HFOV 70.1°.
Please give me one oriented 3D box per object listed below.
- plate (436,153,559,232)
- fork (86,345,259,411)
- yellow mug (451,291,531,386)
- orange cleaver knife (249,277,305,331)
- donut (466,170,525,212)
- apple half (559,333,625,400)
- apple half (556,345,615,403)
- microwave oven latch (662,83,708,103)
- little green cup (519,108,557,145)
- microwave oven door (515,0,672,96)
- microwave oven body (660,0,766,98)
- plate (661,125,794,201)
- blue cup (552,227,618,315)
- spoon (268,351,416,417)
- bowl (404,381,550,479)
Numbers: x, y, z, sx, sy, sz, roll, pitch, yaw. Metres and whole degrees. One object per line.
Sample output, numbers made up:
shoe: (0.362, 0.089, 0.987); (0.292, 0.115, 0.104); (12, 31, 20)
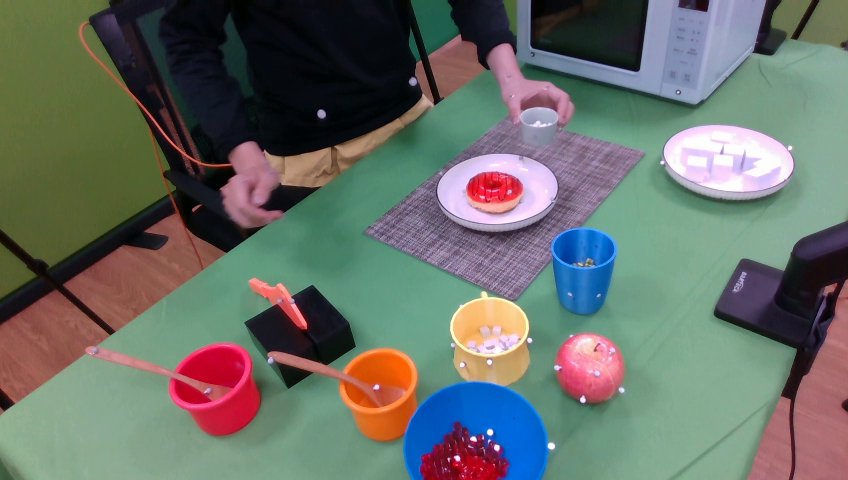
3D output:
plate: (0.125, -0.078, 1.029); (0.209, 0.038, 0.208); (-4, 40, 4)
fork: (-0.298, 0.166, 0.728); (0.209, 0.018, 0.028); (28, 47, -23)
yellow mug: (0.085, 0.120, 0.786); (0.100, 0.064, 0.130); (-7, 39, 1)
orange cleaver knife: (-0.210, 0.088, 0.855); (0.012, 0.077, 0.210); (-28, 15, -25)
donut: (0.121, -0.084, 1.019); (0.099, 0.048, 0.098); (-4, 39, 4)
apple half: (0.209, 0.147, 0.730); (0.080, 0.075, 0.053); (26, 48, 38)
apple half: (0.181, 0.167, 0.709); (0.080, 0.081, 0.033); (29, 50, 35)
microwave oven latch: (0.517, -0.296, 1.204); (0.078, 0.029, 0.030); (27, 52, 35)
little green cup: (0.183, -0.182, 0.979); (0.061, 0.039, 0.061); (-2, 39, 2)
microwave oven door: (0.344, -0.455, 1.260); (0.353, 0.245, 0.039); (26, 51, 33)
microwave oven body: (0.472, -0.513, 1.317); (0.438, 0.261, 0.327); (26, 51, 34)
plate: (0.513, -0.128, 1.035); (0.207, 0.039, 0.206); (-4, 40, 4)
blue cup: (0.218, 0.047, 0.825); (0.092, 0.100, 0.092); (-6, 39, 5)
spoon: (-0.091, 0.163, 0.699); (0.021, 0.195, 0.041); (-44, 31, 28)
bowl: (0.058, 0.235, 0.645); (0.151, 0.077, 0.150); (-4, 39, 4)
